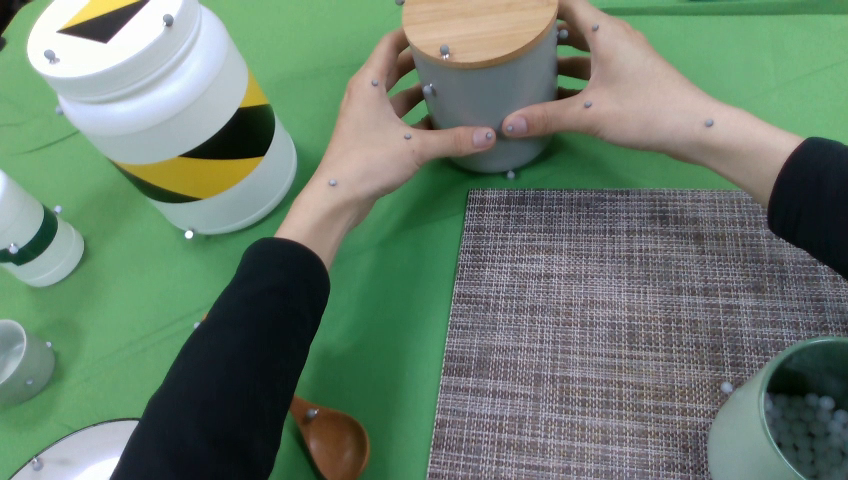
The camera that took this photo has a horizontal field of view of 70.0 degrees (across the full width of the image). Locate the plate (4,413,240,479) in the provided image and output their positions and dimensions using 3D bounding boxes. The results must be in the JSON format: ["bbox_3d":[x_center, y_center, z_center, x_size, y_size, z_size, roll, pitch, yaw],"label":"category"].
[{"bbox_3d":[-0.200,0.216,0.380,0.209,0.038,0.207,-6,58,9],"label":"plate"}]

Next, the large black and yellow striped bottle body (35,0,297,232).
[{"bbox_3d":[-0.195,-0.104,0.484,0.130,0.186,0.129,-6,58,10],"label":"large black and yellow striped bottle body"}]

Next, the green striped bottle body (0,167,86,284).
[{"bbox_3d":[-0.349,-0.016,0.505,0.063,0.120,0.062,-6,58,10],"label":"green striped bottle body"}]

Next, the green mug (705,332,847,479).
[{"bbox_3d":[0.214,0.109,0.303,0.124,0.106,0.092,23,67,24],"label":"green mug"}]

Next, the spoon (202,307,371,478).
[{"bbox_3d":[-0.106,0.099,0.436,0.192,0.022,0.041,34,92,27],"label":"spoon"}]

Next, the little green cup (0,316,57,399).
[{"bbox_3d":[-0.329,0.096,0.481,0.061,0.039,0.061,-6,57,10],"label":"little green cup"}]

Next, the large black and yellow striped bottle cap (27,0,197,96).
[{"bbox_3d":[-0.213,-0.146,0.413,0.115,0.019,0.114,-6,57,9],"label":"large black and yellow striped bottle cap"}]

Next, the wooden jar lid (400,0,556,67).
[{"bbox_3d":[0.038,-0.158,0.423,0.108,0.021,0.107,-5,61,10],"label":"wooden jar lid"}]

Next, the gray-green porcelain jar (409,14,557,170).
[{"bbox_3d":[0.051,-0.125,0.475,0.106,0.128,0.105,-6,58,10],"label":"gray-green porcelain jar"}]
